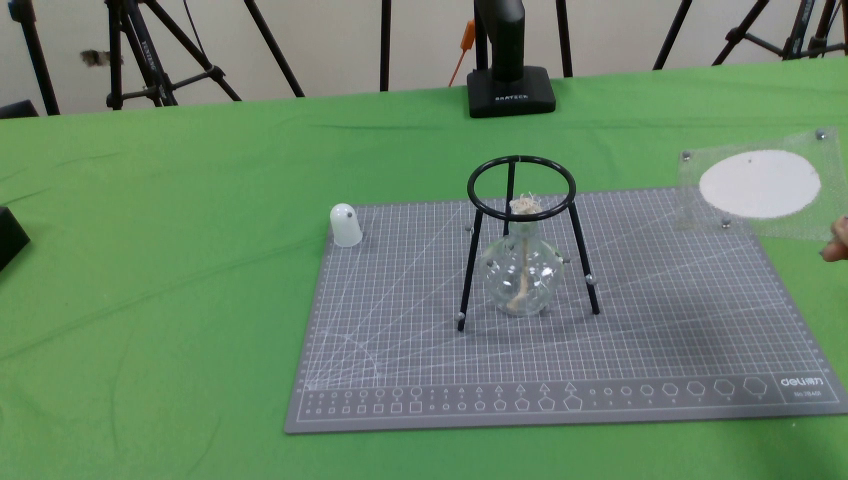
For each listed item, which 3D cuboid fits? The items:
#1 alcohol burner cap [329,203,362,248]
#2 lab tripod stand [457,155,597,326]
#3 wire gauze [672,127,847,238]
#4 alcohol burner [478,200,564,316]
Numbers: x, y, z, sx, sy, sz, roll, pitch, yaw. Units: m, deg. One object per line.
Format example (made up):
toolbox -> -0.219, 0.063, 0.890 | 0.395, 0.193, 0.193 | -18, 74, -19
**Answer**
alcohol burner cap -> -0.087, -0.019, 0.657 | 0.034, 0.048, 0.033 | -3, 42, 3
lab tripod stand -> 0.089, 0.002, 0.543 | 0.148, 0.133, 0.147 | -2, 40, 2
wire gauze -> 0.265, -0.045, 0.484 | 0.124, 0.011, 0.120 | -2, 44, 27
alcohol burner -> 0.088, 0.011, 0.547 | 0.078, 0.120, 0.077 | -2, 41, 2
